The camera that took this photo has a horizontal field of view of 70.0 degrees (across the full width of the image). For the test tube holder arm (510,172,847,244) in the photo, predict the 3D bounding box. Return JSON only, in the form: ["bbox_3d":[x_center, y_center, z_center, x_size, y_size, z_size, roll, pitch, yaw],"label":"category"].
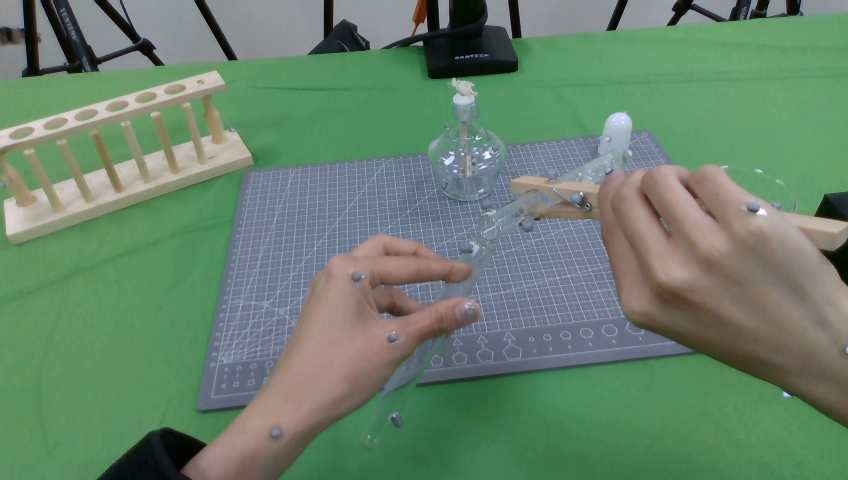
[{"bbox_3d":[0.109,-0.020,0.303,0.015,0.013,0.177,-26,23,-30],"label":"test tube holder arm"}]

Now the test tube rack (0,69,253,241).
[{"bbox_3d":[-0.310,-0.091,0.619,0.243,0.086,0.066,-23,46,-20],"label":"test tube rack"}]

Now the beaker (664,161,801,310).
[{"bbox_3d":[0.230,-0.002,0.472,0.074,0.101,0.083,-27,47,-23],"label":"beaker"}]

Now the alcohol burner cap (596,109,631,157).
[{"bbox_3d":[0.201,-0.115,0.638,0.034,0.048,0.033,-2,43,2],"label":"alcohol burner cap"}]

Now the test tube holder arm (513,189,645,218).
[{"bbox_3d":[0.085,-0.021,0.341,0.015,0.010,0.087,-25,19,-30],"label":"test tube holder arm"}]

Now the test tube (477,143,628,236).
[{"bbox_3d":[0.085,-0.035,0.373,0.017,0.017,0.150,32,42,32],"label":"test tube"}]

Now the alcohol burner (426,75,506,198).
[{"bbox_3d":[0.040,-0.101,0.581,0.078,0.120,0.077,-3,42,3],"label":"alcohol burner"}]

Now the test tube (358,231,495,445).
[{"bbox_3d":[-0.002,0.061,0.353,0.017,0.151,0.017,27,16,-8],"label":"test tube"}]
